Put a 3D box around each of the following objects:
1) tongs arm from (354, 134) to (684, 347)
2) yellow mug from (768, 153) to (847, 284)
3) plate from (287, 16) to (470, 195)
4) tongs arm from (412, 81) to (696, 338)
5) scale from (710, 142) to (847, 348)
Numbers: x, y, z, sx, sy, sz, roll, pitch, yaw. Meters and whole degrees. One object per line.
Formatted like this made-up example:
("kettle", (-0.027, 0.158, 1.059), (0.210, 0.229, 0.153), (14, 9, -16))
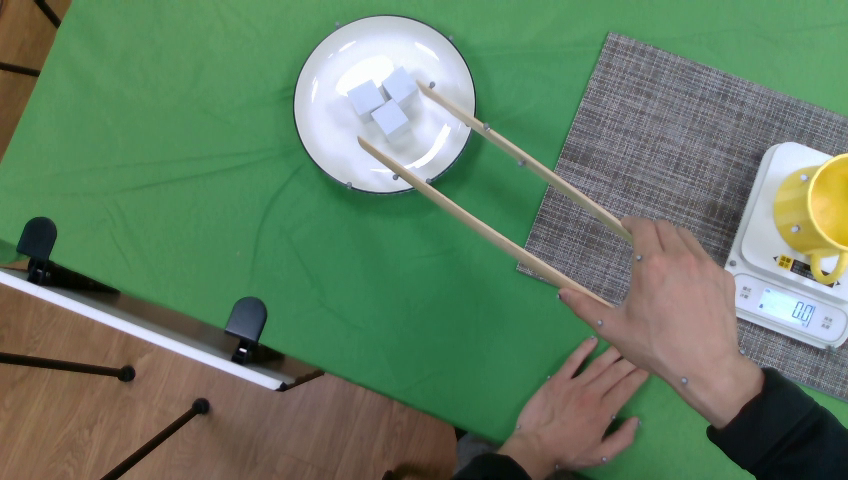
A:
("tongs arm", (0.060, -0.014, 0.567), (0.384, 0.028, 0.028), (36, 74, 31))
("yellow mug", (0.416, -0.018, 0.619), (0.100, 0.064, 0.130), (11, 87, 3))
("plate", (-0.051, -0.151, 0.698), (0.207, 0.039, 0.207), (0, 85, 2))
("tongs arm", (0.097, -0.049, 0.573), (0.051, 0.027, 0.381), (-43, 58, -9))
("scale", (0.415, 0.005, 0.664), (0.148, 0.031, 0.200), (21, 86, 5))
